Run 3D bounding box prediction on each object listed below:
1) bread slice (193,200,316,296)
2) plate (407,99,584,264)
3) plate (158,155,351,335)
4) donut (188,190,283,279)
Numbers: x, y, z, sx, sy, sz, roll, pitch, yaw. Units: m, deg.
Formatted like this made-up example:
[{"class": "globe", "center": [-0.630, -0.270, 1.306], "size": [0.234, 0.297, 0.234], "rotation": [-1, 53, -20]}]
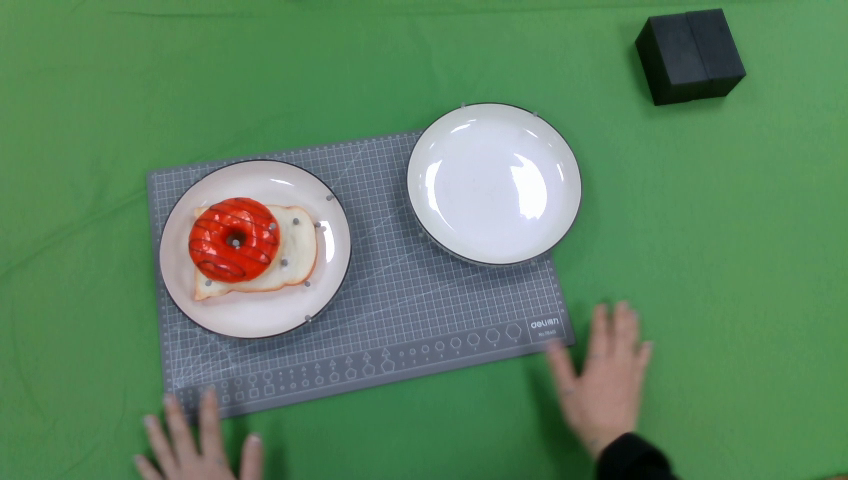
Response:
[{"class": "bread slice", "center": [-0.191, 0.003, 0.680], "size": [0.134, 0.018, 0.106], "rotation": [-8, 74, -8]}, {"class": "plate", "center": [0.083, -0.068, 0.720], "size": [0.208, 0.039, 0.206], "rotation": [1, 72, -3]}, {"class": "plate", "center": [-0.186, 0.006, 0.679], "size": [0.209, 0.038, 0.208], "rotation": [1, 72, -4]}, {"class": "donut", "center": [-0.203, -0.006, 0.653], "size": [0.099, 0.048, 0.098], "rotation": [1, 73, -2]}]
